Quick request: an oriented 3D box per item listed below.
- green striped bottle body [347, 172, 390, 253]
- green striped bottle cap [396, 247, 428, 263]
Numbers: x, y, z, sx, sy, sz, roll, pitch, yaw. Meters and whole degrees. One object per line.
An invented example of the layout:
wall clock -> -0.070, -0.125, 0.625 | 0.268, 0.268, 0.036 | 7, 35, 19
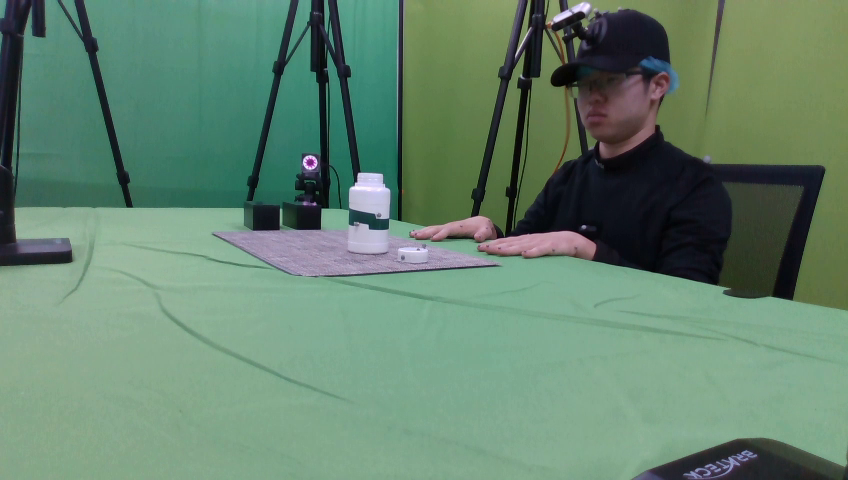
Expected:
green striped bottle body -> -0.083, -0.042, 0.913 | 0.063, 0.119, 0.063 | 2, 7, 0
green striped bottle cap -> -0.017, 0.021, 0.850 | 0.044, 0.020, 0.044 | 1, 5, 0
